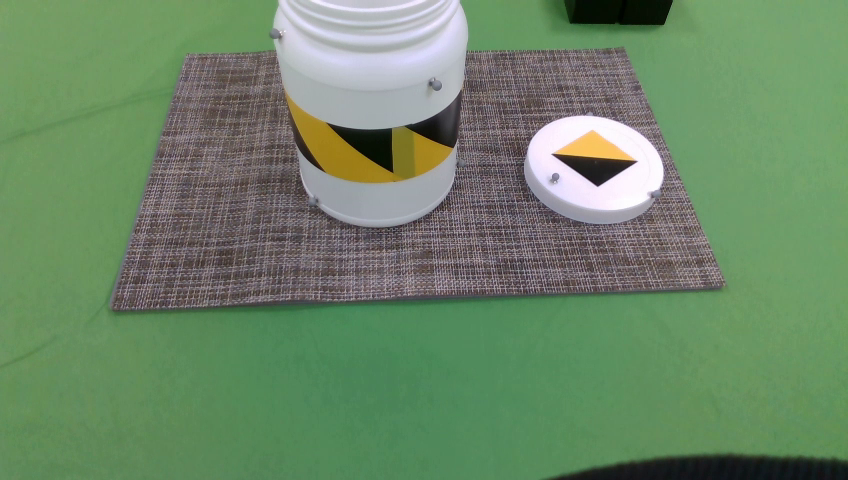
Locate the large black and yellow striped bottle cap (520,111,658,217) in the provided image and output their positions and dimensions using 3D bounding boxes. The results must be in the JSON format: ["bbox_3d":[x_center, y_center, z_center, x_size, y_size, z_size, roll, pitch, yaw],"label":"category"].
[{"bbox_3d":[0.140,-0.068,0.517,0.115,0.019,0.114,2,52,-2],"label":"large black and yellow striped bottle cap"}]

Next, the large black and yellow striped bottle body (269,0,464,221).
[{"bbox_3d":[-0.039,-0.118,0.442,0.131,0.185,0.129,1,53,-1],"label":"large black and yellow striped bottle body"}]
